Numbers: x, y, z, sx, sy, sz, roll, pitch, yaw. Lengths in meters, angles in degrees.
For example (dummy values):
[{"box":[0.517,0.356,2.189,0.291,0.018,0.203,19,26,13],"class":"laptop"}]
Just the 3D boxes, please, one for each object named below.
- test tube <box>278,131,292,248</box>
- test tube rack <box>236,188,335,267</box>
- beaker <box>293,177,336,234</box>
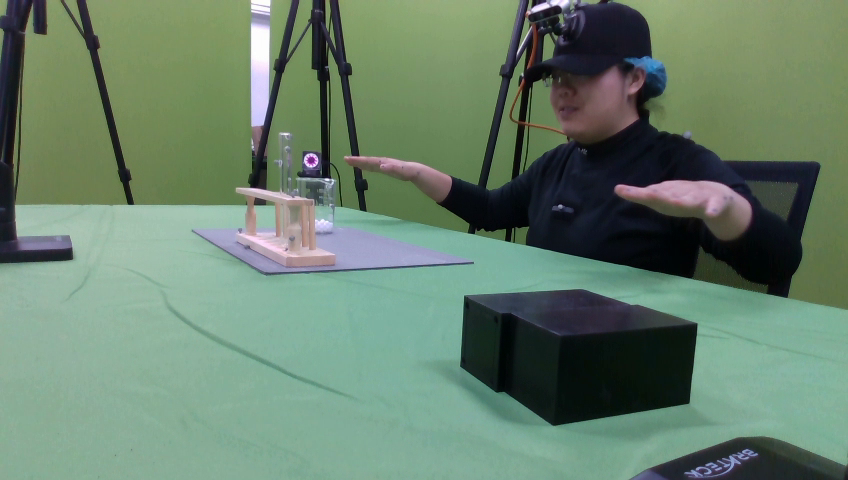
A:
[{"box":[-0.178,-0.063,0.776,0.017,0.150,0.017,2,11,0],"class":"test tube"},{"box":[-0.202,-0.025,0.855,0.067,0.085,0.241,-2,9,-31],"class":"test tube rack"},{"box":[-0.198,-0.063,1.107,0.083,0.100,0.074,10,11,40],"class":"beaker"}]
